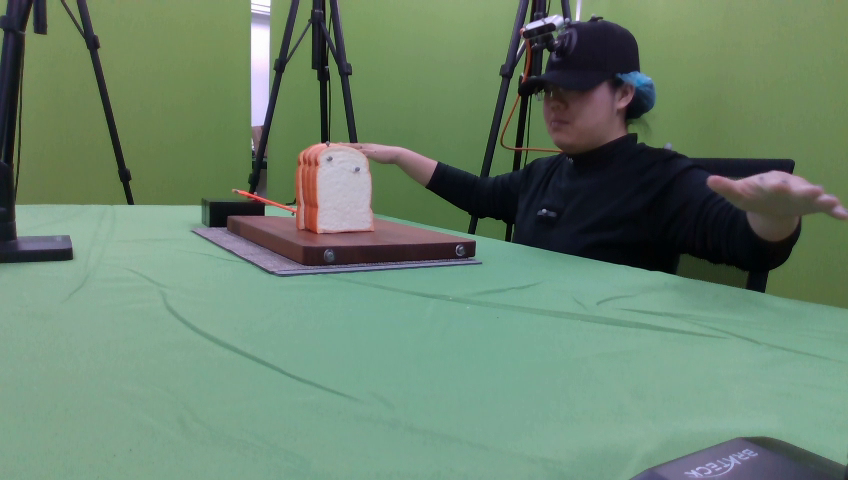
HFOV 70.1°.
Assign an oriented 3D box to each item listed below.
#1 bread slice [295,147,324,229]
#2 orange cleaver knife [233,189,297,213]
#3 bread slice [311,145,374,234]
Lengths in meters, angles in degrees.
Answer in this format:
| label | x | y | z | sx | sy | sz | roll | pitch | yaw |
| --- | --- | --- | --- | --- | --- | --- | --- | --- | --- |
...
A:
| label | x | y | z | sx | sy | sz | roll | pitch | yaw |
| --- | --- | --- | --- | --- | --- | --- | --- | --- | --- |
| bread slice | -0.157 | -0.082 | 0.959 | 0.105 | 0.131 | 0.019 | -1 | -2 | -43 |
| orange cleaver knife | -0.279 | -0.065 | 1.219 | 0.212 | 0.012 | 0.077 | 19 | -3 | -21 |
| bread slice | -0.127 | -0.076 | 0.919 | 0.107 | 0.134 | 0.018 | -8 | 8 | -41 |
